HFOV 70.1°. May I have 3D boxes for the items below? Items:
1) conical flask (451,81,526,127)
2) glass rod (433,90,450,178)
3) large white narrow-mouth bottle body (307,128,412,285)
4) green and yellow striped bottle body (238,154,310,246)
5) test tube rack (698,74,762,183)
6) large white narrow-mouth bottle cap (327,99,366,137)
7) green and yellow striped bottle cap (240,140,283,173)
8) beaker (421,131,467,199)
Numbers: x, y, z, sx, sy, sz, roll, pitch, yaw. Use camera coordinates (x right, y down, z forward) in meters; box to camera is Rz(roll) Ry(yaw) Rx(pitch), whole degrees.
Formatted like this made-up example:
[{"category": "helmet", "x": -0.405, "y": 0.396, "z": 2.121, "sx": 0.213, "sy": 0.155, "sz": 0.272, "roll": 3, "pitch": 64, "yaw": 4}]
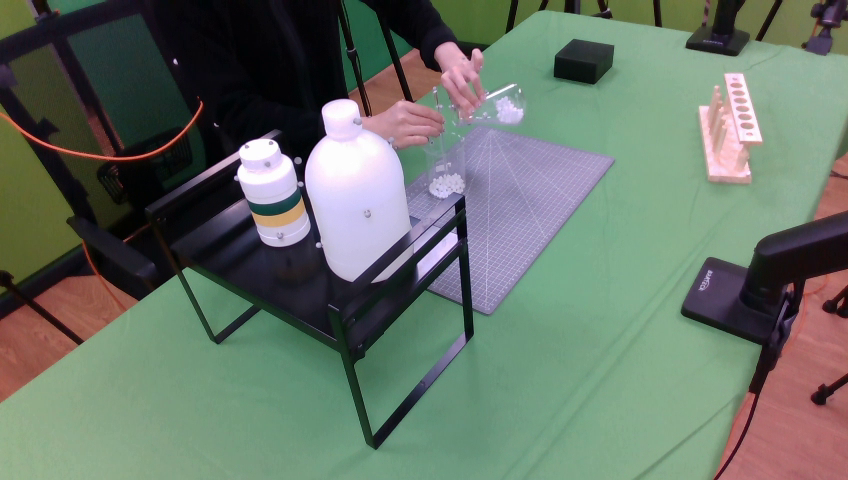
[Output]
[{"category": "conical flask", "x": 0.107, "y": -0.224, "z": 1.029, "sx": 0.122, "sy": 0.075, "sz": 0.074, "roll": -17, "pitch": 41, "yaw": -19}, {"category": "glass rod", "x": 0.032, "y": -0.174, "z": 1.025, "sx": 0.008, "sy": 0.201, "sz": 0.008, "roll": -5, "pitch": 52, "yaw": 7}, {"category": "large white narrow-mouth bottle body", "x": -0.070, "y": -0.051, "z": 0.638, "sx": 0.102, "sy": 0.195, "sz": 0.101, "roll": -3, "pitch": 40, "yaw": 3}, {"category": "green and yellow striped bottle body", "x": -0.178, "y": -0.056, "z": 0.714, "sx": 0.063, "sy": 0.120, "sz": 0.063, "roll": -4, "pitch": 40, "yaw": 4}, {"category": "test tube rack", "x": 0.547, "y": -0.208, "z": 1.095, "sx": 0.066, "sy": 0.085, "sz": 0.242, "roll": 5, "pitch": 42, "yaw": 15}, {"category": "large white narrow-mouth bottle cap", "x": -0.075, "y": -0.118, "z": 0.582, "sx": 0.038, "sy": 0.024, "sz": 0.037, "roll": -3, "pitch": 40, "yaw": 3}, {"category": "green and yellow striped bottle cap", "x": -0.183, "y": -0.094, "z": 0.679, "sx": 0.045, "sy": 0.020, "sz": 0.045, "roll": -5, "pitch": 38, "yaw": 4}, {"category": "beaker", "x": 0.040, "y": -0.130, "z": 1.060, "sx": 0.084, "sy": 0.100, "sz": 0.073, "roll": -24, "pitch": 43, "yaw": -20}]
